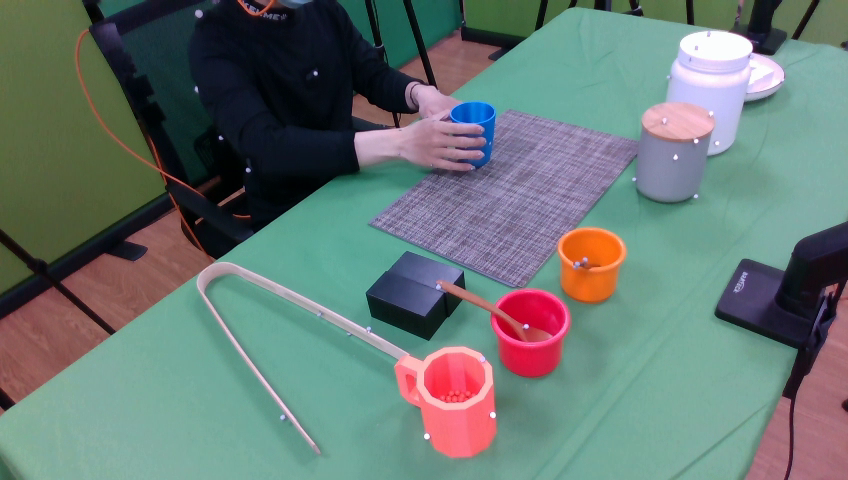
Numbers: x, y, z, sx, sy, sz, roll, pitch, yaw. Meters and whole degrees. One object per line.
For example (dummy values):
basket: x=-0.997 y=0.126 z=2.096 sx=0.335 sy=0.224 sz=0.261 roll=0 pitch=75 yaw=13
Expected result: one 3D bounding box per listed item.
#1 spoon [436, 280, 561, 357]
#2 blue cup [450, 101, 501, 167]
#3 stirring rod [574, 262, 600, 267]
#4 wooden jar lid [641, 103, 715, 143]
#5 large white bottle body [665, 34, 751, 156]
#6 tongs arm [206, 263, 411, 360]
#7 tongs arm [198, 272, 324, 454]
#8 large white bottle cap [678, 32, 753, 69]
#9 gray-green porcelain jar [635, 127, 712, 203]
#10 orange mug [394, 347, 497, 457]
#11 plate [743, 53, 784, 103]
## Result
spoon: x=0.096 y=0.095 z=0.757 sx=0.195 sy=0.021 sz=0.041 roll=34 pitch=40 yaw=-20
blue cup: x=0.093 y=-0.193 z=1.121 sx=0.092 sy=0.100 sz=0.092 roll=-3 pitch=39 yaw=3
stirring rod: x=0.222 y=0.033 z=0.817 sx=0.014 sy=0.006 sz=0.177 roll=7 pitch=0 yaw=22
wooden jar lid: x=0.398 y=-0.180 z=0.952 sx=0.108 sy=0.021 sz=0.108 roll=-4 pitch=43 yaw=4
large white bottle body: x=0.500 y=-0.257 z=1.076 sx=0.130 sy=0.185 sz=0.130 roll=-4 pitch=41 yaw=4
tongs arm: x=-0.179 y=0.106 z=0.870 sx=0.382 sy=0.027 sz=0.051 roll=23 pitch=55 yaw=32
tongs arm: x=-0.236 y=0.154 z=0.831 sx=0.028 sy=0.028 sz=0.384 roll=-37 pitch=48 yaw=-18
large white bottle cap: x=0.491 y=-0.321 z=1.021 sx=0.115 sy=0.018 sz=0.114 roll=-4 pitch=41 yaw=4
gray-green porcelain jar: x=0.404 y=-0.133 z=0.992 sx=0.106 sy=0.127 sz=0.105 roll=-4 pitch=40 yaw=4
orange mug: x=0.024 y=0.181 z=0.703 sx=0.125 sy=0.101 sz=0.083 roll=20 pitch=48 yaw=23
plate: x=0.631 y=-0.336 z=1.262 sx=0.207 sy=0.039 sz=0.206 roll=-4 pitch=41 yaw=4
